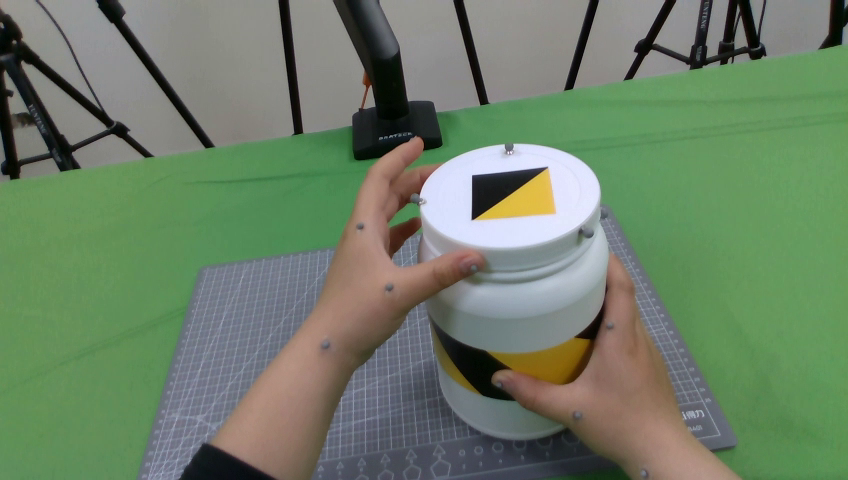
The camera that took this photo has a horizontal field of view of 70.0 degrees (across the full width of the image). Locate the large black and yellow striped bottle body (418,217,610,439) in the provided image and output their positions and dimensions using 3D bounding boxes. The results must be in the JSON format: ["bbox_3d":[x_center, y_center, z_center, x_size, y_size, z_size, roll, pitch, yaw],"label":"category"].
[{"bbox_3d":[0.066,0.042,0.443,0.131,0.186,0.129,-6,40,5],"label":"large black and yellow striped bottle body"}]

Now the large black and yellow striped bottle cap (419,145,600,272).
[{"bbox_3d":[0.054,-0.025,0.389,0.115,0.019,0.114,-5,41,5],"label":"large black and yellow striped bottle cap"}]
